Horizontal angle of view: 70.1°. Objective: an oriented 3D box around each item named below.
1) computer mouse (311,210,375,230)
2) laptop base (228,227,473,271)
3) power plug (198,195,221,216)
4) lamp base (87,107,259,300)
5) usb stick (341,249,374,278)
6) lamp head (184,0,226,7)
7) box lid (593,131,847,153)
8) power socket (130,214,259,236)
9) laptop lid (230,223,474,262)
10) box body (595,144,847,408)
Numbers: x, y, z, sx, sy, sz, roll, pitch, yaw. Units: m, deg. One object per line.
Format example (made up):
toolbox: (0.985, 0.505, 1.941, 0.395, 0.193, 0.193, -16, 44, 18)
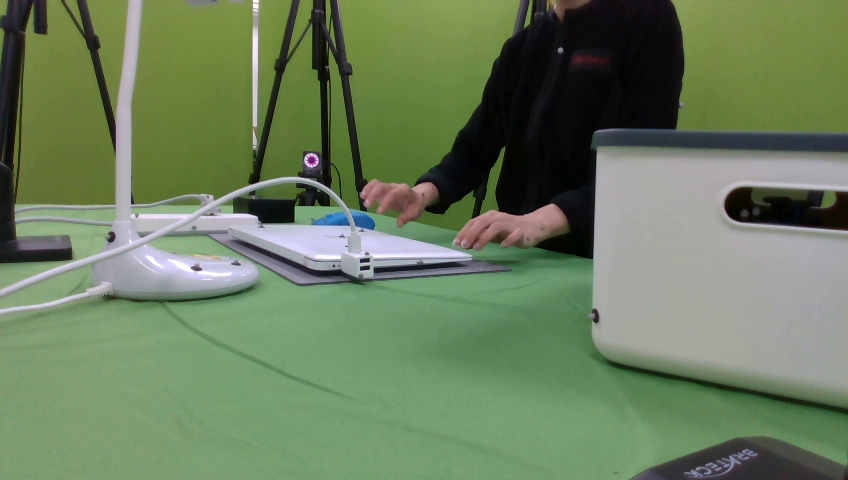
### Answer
computer mouse: (-0.153, -0.034, 1.140, 0.118, 0.041, 0.062, -6, 12, -28)
laptop base: (-0.124, 0.011, 0.889, 0.237, 0.023, 0.352, 2, 6, -35)
power plug: (-0.386, -0.055, 1.088, 0.035, 0.052, 0.072, -2, 6, -24)
lamp base: (-0.254, -0.039, 0.603, 0.160, 0.180, 0.179, 5, 10, 18)
usb stick: (-0.078, 0.026, 0.686, 0.021, 0.027, 0.059, -8, 8, -30)
lamp head: (-0.229, -0.320, 0.627, 0.112, 0.112, 0.123, 6, -35, 26)
box lid: (0.311, -0.067, 0.498, 0.262, 0.015, 0.373, 6, 7, 30)
power socket: (-0.397, -0.028, 1.048, 0.228, 0.032, 0.072, -3, 7, -35)
laptop lid: (-0.121, 0.000, 0.888, 0.243, 0.013, 0.355, 1, 7, -33)
box body: (0.309, 0.007, 0.508, 0.253, 0.160, 0.366, 6, 8, 30)
